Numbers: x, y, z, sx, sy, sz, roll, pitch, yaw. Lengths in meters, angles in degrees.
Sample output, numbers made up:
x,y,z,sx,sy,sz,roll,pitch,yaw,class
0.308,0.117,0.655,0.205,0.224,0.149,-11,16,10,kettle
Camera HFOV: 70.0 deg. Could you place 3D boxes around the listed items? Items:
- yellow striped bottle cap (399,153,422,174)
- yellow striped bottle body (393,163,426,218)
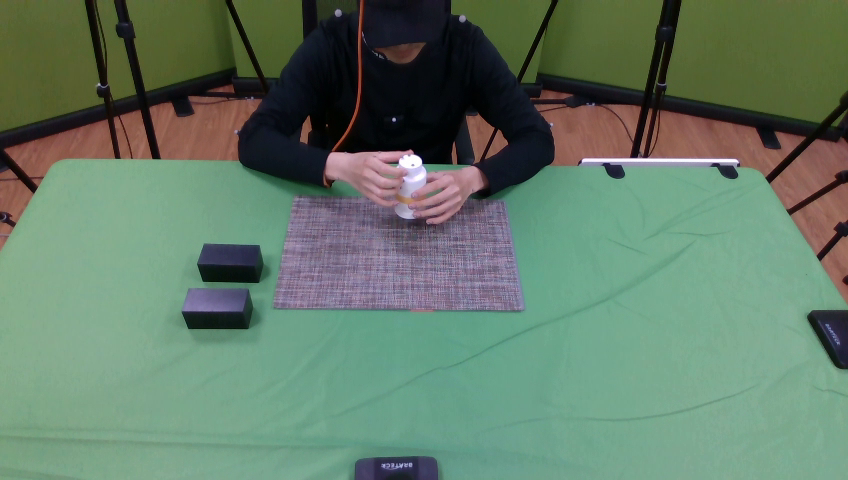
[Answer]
x,y,z,sx,sy,sz,roll,pitch,yaw,class
-0.026,-0.144,1.136,0.044,0.019,0.044,-1,47,1,yellow striped bottle cap
-0.027,-0.107,1.172,0.063,0.121,0.062,0,43,1,yellow striped bottle body
